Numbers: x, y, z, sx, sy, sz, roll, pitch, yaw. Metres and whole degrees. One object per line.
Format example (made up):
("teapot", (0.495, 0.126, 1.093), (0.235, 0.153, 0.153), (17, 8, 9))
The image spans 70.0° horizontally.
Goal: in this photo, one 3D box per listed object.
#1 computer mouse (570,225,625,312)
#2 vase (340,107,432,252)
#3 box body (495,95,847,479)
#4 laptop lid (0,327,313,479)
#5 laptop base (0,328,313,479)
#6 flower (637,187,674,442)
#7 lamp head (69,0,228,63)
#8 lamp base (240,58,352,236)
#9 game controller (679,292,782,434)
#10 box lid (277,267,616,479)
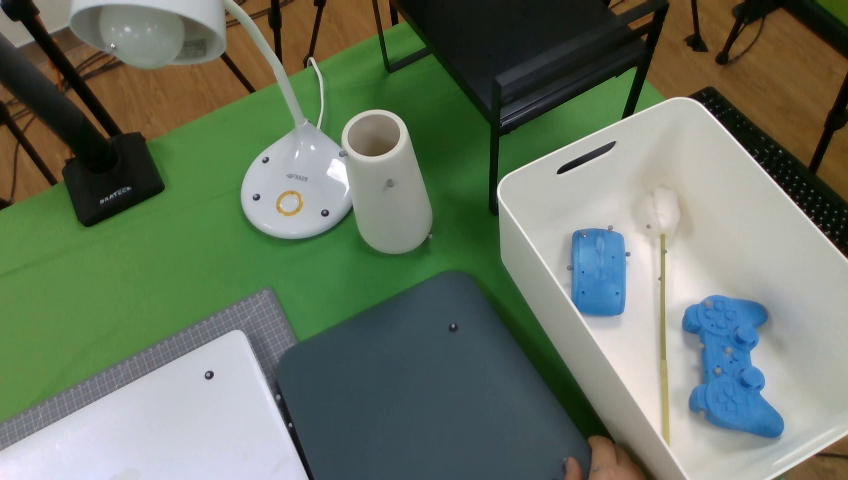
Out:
("computer mouse", (0.208, 0.030, 0.728), (0.062, 0.041, 0.116), (5, 59, 10))
("vase", (-0.045, -0.066, 0.713), (0.098, 0.202, 0.097), (-3, 61, 5))
("box body", (0.265, 0.058, 0.646), (0.254, 0.162, 0.360), (-26, 63, -9))
("laptop lid", (-0.313, 0.270, 0.646), (0.357, 0.013, 0.239), (-27, 66, -9))
("laptop base", (-0.314, 0.273, 0.657), (0.354, 0.023, 0.233), (-28, 68, -10))
("flower", (0.272, 0.096, 0.696), (0.044, 0.038, 0.359), (-8, 58, 29))
("lamp head", (-0.209, -0.212, 0.474), (0.112, 0.113, 0.122), (-1, 80, 4))
("lamp base", (-0.176, -0.123, 0.764), (0.160, 0.182, 0.177), (2, 60, 6))
("game controller", (0.336, 0.127, 0.663), (0.097, 0.052, 0.154), (3, 62, 8))
("box lid", (0.014, 0.205, 0.640), (0.263, 0.015, 0.367), (-27, 54, -10))
